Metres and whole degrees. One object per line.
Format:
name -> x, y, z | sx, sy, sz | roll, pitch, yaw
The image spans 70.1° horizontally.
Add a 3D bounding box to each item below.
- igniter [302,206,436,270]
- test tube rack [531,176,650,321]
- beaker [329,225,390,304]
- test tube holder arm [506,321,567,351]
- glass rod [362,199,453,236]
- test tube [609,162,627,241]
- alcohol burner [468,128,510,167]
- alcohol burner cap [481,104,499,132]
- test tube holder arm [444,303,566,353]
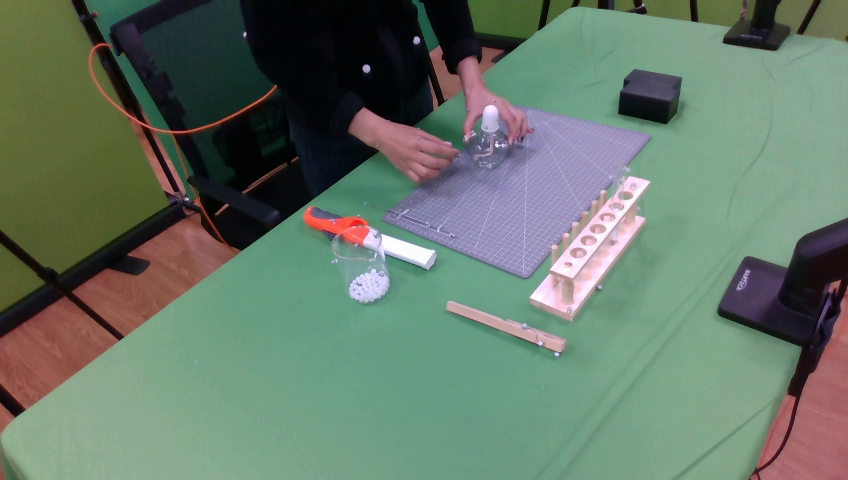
igniter -> -0.101, -0.007, 1.004 | 0.274, 0.025, 0.057 | 19, 57, 29
test tube rack -> 0.246, 0.002, 0.884 | 0.066, 0.085, 0.243 | 22, 49, 32
beaker -> -0.089, 0.040, 0.890 | 0.074, 0.101, 0.083 | -32, 45, -24
test tube holder arm -> 0.148, 0.128, 0.808 | 0.087, 0.015, 0.010 | 16, 10, 28
glass rod -> -0.031, -0.041, 1.041 | 0.198, 0.008, 0.008 | 22, 50, 31
test tube -> 0.277, -0.051, 0.864 | 0.017, 0.151, 0.017 | -6, 47, 7
alcohol burner -> 0.120, -0.195, 1.110 | 0.078, 0.119, 0.077 | 0, 42, 0
alcohol burner cap -> 0.119, -0.220, 1.084 | 0.034, 0.048, 0.033 | -2, 49, 3
test tube holder arm -> 0.106, 0.117, 0.823 | 0.177, 0.015, 0.013 | 16, 10, 27
